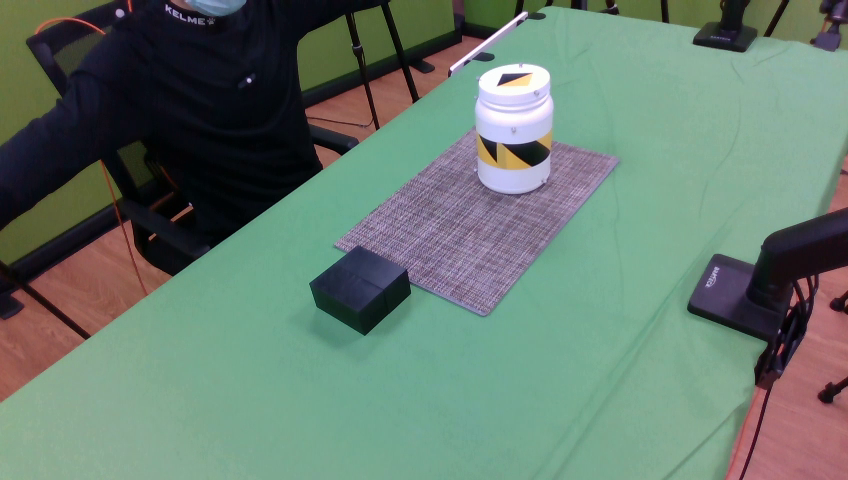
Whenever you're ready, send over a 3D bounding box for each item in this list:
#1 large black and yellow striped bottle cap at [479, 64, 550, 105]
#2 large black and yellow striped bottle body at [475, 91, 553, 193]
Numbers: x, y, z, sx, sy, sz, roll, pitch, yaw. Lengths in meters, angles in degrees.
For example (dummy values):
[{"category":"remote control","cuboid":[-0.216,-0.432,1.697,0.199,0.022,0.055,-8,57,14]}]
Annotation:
[{"category":"large black and yellow striped bottle cap","cuboid":[0.146,-0.254,0.978,0.115,0.019,0.114,-5,40,5]},{"category":"large black and yellow striped bottle body","cuboid":[0.153,-0.187,1.034,0.131,0.185,0.130,-4,41,4]}]
